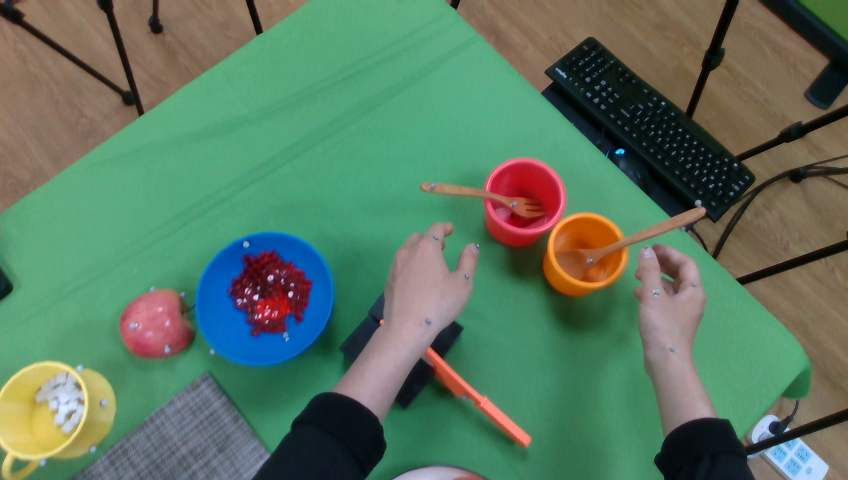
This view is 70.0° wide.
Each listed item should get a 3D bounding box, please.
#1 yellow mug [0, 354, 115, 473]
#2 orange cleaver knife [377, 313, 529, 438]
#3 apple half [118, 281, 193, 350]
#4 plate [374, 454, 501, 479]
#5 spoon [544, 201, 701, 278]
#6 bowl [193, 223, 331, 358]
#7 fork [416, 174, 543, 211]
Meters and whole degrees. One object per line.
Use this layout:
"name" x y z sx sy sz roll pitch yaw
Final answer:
"yellow mug" -0.412 0.192 0.661 0.100 0.064 0.130 26 75 6
"orange cleaver knife" 0.031 0.150 0.677 0.212 0.077 0.012 43 67 -11
"apple half" -0.316 0.086 0.703 0.075 0.053 0.080 -18 74 -4
"plate" 0.014 0.335 0.642 0.209 0.038 0.208 0 73 -1
"spoon" 0.222 -0.001 0.694 0.022 0.193 0.041 5 65 -46
"bowl" -0.177 0.065 0.700 0.151 0.077 0.150 0 73 -1
"fork" 0.071 -0.056 0.708 0.209 0.018 0.028 8 65 -44
